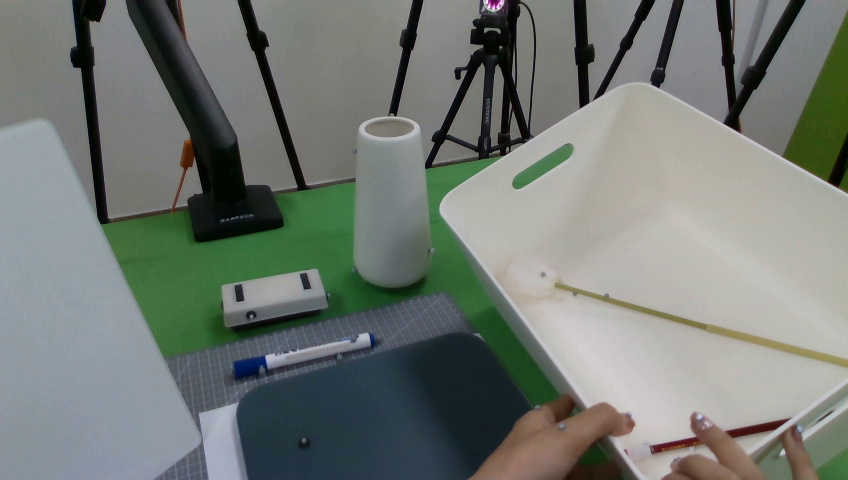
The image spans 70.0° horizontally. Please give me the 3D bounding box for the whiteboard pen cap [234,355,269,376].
[{"bbox_3d":[-0.176,0.128,0.618,0.033,0.018,0.018,-7,34,-18],"label":"whiteboard pen cap"}]

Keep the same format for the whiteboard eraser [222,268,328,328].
[{"bbox_3d":[-0.171,0.068,0.694,0.113,0.042,0.055,-11,33,-17],"label":"whiteboard eraser"}]

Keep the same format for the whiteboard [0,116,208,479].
[{"bbox_3d":[-0.348,0.087,0.466,0.143,0.307,0.217,4,28,42],"label":"whiteboard"}]

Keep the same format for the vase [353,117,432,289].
[{"bbox_3d":[-0.037,-0.040,0.721,0.098,0.201,0.097,2,33,-1],"label":"vase"}]

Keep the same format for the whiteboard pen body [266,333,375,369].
[{"bbox_3d":[-0.120,0.118,0.636,0.141,0.017,0.017,-10,35,-16],"label":"whiteboard pen body"}]

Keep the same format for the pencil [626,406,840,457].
[{"bbox_3d":[0.259,0.163,0.516,0.194,0.012,0.012,-17,30,14],"label":"pencil"}]

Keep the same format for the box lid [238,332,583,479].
[{"bbox_3d":[0.004,0.219,0.491,0.264,0.015,0.367,-12,35,-19],"label":"box lid"}]

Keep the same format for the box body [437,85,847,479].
[{"bbox_3d":[0.211,0.042,0.553,0.254,0.162,0.359,-33,41,-3],"label":"box body"}]

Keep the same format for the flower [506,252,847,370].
[{"bbox_3d":[0.243,0.076,0.604,0.358,0.038,0.044,18,68,34],"label":"flower"}]
